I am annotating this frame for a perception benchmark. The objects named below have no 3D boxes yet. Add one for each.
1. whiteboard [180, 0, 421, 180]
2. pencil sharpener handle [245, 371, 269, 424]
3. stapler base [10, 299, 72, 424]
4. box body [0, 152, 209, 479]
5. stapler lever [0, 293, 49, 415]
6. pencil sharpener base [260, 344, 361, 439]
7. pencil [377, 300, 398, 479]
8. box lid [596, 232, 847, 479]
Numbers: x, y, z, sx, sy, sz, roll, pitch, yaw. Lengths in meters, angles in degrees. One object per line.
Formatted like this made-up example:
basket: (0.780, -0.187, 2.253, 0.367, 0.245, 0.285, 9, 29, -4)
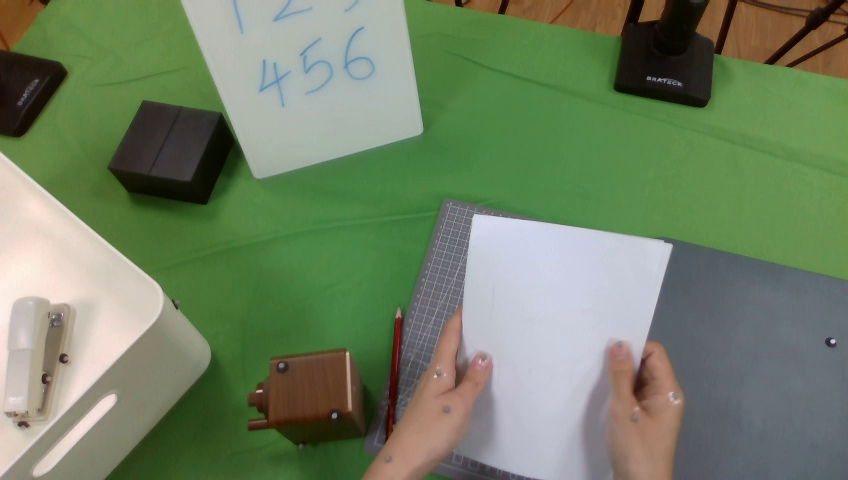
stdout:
whiteboard: (-0.143, -0.257, 0.688, 0.217, 0.308, 0.142, -17, 45, -7)
pencil sharpener handle: (-0.153, 0.147, 0.547, 0.030, 0.068, 0.035, -6, 46, -2)
stapler base: (-0.394, 0.119, 0.618, 0.041, 0.024, 0.129, -5, 65, 0)
box body: (-0.420, 0.075, 0.569, 0.362, 0.161, 0.253, 34, 69, 16)
stapler lever: (-0.394, 0.109, 0.594, 0.027, 0.040, 0.117, -5, 66, 1)
pencil sharpener base: (-0.102, 0.143, 0.563, 0.077, 0.108, 0.061, -6, 63, -2)
pencil: (-0.035, 0.150, 0.612, 0.012, 0.012, 0.192, 2, 63, 2)
box lid: (0.316, 0.173, 0.597, 0.263, 0.015, 0.369, 14, 65, 7)
